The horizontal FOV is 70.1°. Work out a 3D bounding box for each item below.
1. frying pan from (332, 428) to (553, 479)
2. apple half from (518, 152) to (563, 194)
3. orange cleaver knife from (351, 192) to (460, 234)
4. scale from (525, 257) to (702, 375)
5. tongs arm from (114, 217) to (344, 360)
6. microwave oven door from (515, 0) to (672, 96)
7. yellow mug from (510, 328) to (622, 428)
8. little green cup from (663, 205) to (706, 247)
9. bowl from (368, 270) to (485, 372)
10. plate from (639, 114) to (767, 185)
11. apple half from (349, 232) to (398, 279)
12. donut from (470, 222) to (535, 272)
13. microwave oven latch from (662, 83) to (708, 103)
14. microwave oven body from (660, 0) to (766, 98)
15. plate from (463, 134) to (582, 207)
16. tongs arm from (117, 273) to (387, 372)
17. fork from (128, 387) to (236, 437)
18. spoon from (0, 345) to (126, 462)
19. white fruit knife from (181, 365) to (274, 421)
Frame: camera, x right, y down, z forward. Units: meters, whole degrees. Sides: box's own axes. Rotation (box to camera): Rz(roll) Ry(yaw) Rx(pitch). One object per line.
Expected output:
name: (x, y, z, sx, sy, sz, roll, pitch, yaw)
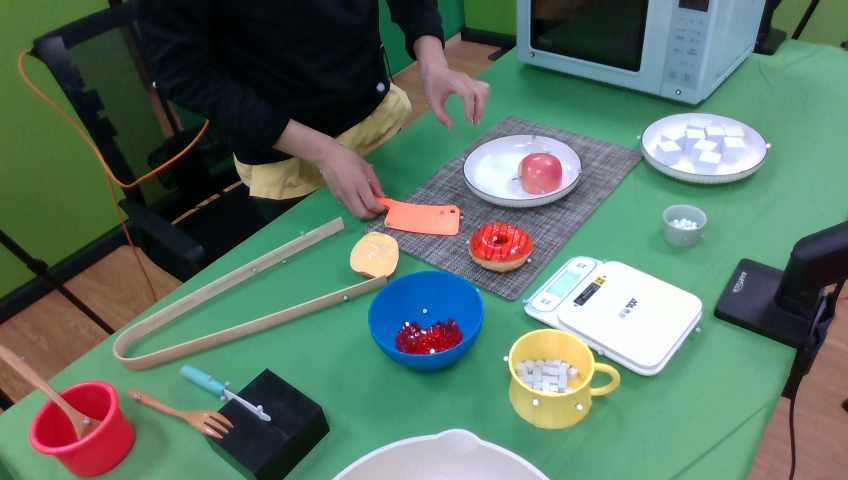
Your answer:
frying pan: (-0.089, 0.306, 0.564, 0.487, 0.103, 0.306, 10, 41, 7)
apple half: (0.203, -0.124, 1.047, 0.074, 0.053, 0.080, -1, 41, 3)
orange cleaver knife: (-0.036, -0.045, 1.029, 0.210, 0.012, 0.077, 11, 46, 17)
scale: (0.254, 0.091, 0.821, 0.199, 0.032, 0.149, 28, 51, 35)
tongs arm: (-0.280, 0.068, 0.927, 0.386, 0.026, 0.050, -29, 49, -23)
microwave oven door: (0.343, -0.454, 1.259, 0.353, 0.245, 0.039, 26, 51, 33)
yellow mug: (0.168, 0.164, 0.722, 0.130, 0.064, 0.099, 0, 40, 8)
little green cup: (0.396, -0.020, 0.926, 0.061, 0.039, 0.061, -4, 40, 4)
bowl: (0.007, 0.118, 0.791, 0.151, 0.077, 0.150, -4, 40, 4)
plate: (0.489, -0.157, 1.074, 0.207, 0.039, 0.206, -4, 40, 4)
apple half: (-0.073, 0.028, 0.938, 0.081, 0.033, 0.081, -3, 68, 8)
donut: (0.119, 0.009, 0.923, 0.099, 0.048, 0.098, -4, 38, 3)
microwave oven latch: (0.518, -0.296, 1.204, 0.078, 0.029, 0.030, 28, 52, 35)
microwave oven body: (0.472, -0.513, 1.317, 0.438, 0.261, 0.327, 26, 51, 34)
plate: (0.173, -0.119, 1.070, 0.209, 0.038, 0.208, -4, 40, 4)
tongs arm: (-0.237, 0.116, 0.870, 0.389, 0.028, 0.028, -18, 49, -12)
fork: (-0.305, 0.207, 0.744, 0.206, 0.019, 0.028, 3, 42, 36)
spoon: (-0.434, 0.192, 0.720, 0.194, 0.021, 0.042, 47, 53, -7)
white fruit knife: (-0.245, 0.187, 0.747, 0.205, 0.027, 0.016, 9, 41, 40)
